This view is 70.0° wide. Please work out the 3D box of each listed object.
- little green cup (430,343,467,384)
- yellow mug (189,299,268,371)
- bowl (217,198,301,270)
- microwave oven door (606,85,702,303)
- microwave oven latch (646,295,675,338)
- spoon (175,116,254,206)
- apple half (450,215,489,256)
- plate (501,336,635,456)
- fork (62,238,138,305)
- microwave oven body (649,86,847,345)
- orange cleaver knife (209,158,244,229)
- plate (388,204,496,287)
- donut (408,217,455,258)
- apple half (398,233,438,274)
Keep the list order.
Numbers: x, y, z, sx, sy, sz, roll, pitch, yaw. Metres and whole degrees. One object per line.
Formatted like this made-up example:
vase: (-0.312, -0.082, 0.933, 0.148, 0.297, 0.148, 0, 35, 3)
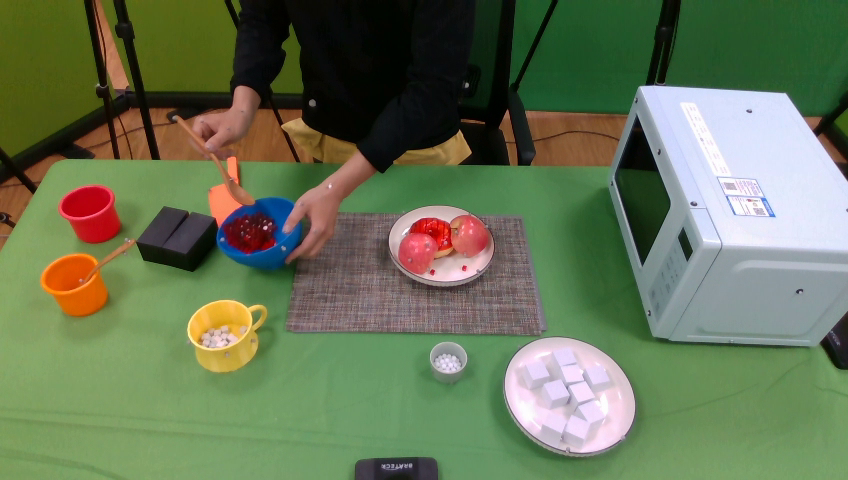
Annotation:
little green cup: (0.039, 0.203, 0.994, 0.061, 0.039, 0.061, 2, 46, -2)
yellow mug: (-0.316, 0.148, 1.002, 0.131, 0.064, 0.099, -33, 56, -31)
bowl: (-0.286, 0.002, 1.094, 0.151, 0.077, 0.150, -8, 44, 7)
microwave oven door: (0.423, -0.094, 1.140, 0.039, 0.245, 0.353, 2, 46, -1)
microwave oven latch: (0.412, 0.134, 1.061, 0.030, 0.029, 0.078, 4, 45, 1)
spoon: (-0.364, -0.136, 1.055, 0.021, 0.194, 0.041, -27, 17, 22)
apple half: (0.092, -0.013, 1.158, 0.075, 0.053, 0.080, 34, 39, -28)
plate: (0.225, 0.248, 0.964, 0.208, 0.039, 0.206, 2, 46, -2)
fork: (-0.547, 0.053, 1.018, 0.207, 0.019, 0.028, -36, 41, 23)
microwave oven body: (0.568, -0.053, 1.118, 0.326, 0.261, 0.439, 2, 45, -1)
orange cleaver knife: (-0.409, -0.099, 1.266, 0.077, 0.012, 0.210, -13, 49, -10)
plate: (0.033, 0.014, 1.171, 0.209, 0.038, 0.208, 2, 46, -2)
donut: (0.018, -0.006, 1.174, 0.099, 0.048, 0.098, 4, 41, -3)
apple half: (-0.016, 0.022, 1.123, 0.081, 0.033, 0.081, -2, 83, 14)
